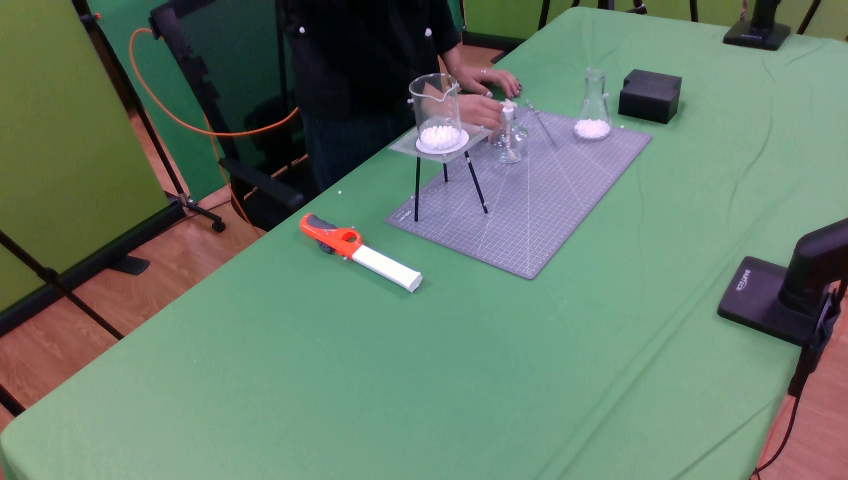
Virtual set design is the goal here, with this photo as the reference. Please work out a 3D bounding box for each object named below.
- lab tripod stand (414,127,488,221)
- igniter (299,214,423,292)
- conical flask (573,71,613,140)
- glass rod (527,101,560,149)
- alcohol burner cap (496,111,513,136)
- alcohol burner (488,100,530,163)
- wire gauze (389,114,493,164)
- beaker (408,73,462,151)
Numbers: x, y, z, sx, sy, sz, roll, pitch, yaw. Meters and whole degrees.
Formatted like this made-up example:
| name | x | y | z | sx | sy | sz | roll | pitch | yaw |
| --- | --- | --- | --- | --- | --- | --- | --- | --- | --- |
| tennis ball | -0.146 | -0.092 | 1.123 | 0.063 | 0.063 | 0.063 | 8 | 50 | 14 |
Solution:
| name | x | y | z | sx | sy | sz | roll | pitch | yaw |
| --- | --- | --- | --- | --- | --- | --- | --- | --- | --- |
| lab tripod stand | 0.035 | -0.114 | 1.021 | 0.148 | 0.132 | 0.147 | -7 | 39 | 6 |
| igniter | -0.112 | 0.016 | 0.983 | 0.274 | 0.025 | 0.057 | 25 | 62 | 35 |
| conical flask | 0.321 | -0.256 | 1.142 | 0.075 | 0.122 | 0.075 | -5 | 40 | 5 |
| glass rod | 0.240 | -0.237 | 1.223 | 0.008 | 0.008 | 0.198 | -12 | 40 | -2 |
| alcohol burner cap | 0.161 | -0.236 | 1.213 | 0.034 | 0.048 | 0.033 | -10 | 40 | 9 |
| alcohol burner | 0.157 | -0.204 | 1.119 | 0.078 | 0.119 | 0.077 | -5 | 38 | 5 |
| wire gauze | 0.027 | -0.163 | 0.978 | 0.120 | 0.011 | 0.125 | 22 | 50 | 36 |
| beaker | 0.021 | -0.196 | 0.943 | 0.074 | 0.101 | 0.083 | -17 | 39 | -7 |
